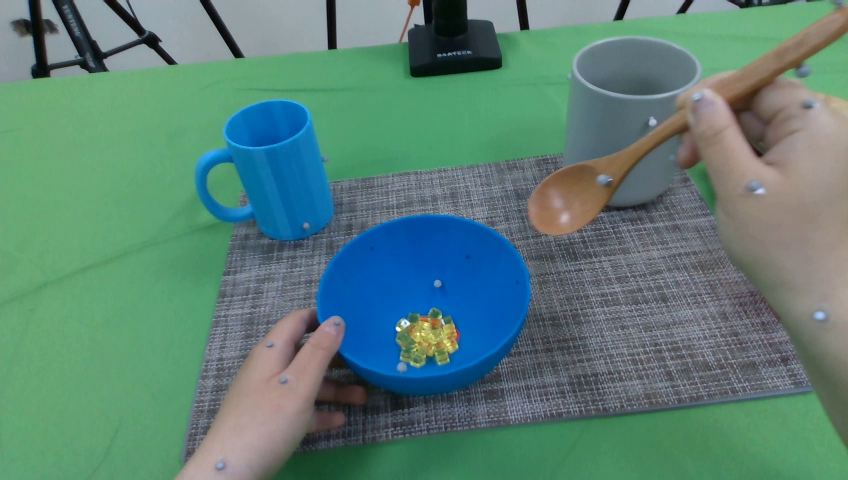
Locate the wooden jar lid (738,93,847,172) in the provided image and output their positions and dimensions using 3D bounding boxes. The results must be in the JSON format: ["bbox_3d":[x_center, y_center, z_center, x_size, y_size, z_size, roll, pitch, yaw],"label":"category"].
[{"bbox_3d":[0.339,-0.096,0.543,0.108,0.021,0.107,-4,44,4],"label":"wooden jar lid"}]

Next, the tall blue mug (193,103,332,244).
[{"bbox_3d":[-0.144,-0.052,0.555,0.077,0.109,0.107,30,55,30],"label":"tall blue mug"}]

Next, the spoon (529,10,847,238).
[{"bbox_3d":[0.129,-0.053,0.321,0.022,0.194,0.041,2,64,-36],"label":"spoon"}]

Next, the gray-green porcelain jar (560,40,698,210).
[{"bbox_3d":[0.181,-0.100,0.555,0.106,0.128,0.105,-3,44,4],"label":"gray-green porcelain jar"}]

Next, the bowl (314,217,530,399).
[{"bbox_3d":[0.001,0.061,0.446,0.151,0.077,0.150,-3,44,3],"label":"bowl"}]
